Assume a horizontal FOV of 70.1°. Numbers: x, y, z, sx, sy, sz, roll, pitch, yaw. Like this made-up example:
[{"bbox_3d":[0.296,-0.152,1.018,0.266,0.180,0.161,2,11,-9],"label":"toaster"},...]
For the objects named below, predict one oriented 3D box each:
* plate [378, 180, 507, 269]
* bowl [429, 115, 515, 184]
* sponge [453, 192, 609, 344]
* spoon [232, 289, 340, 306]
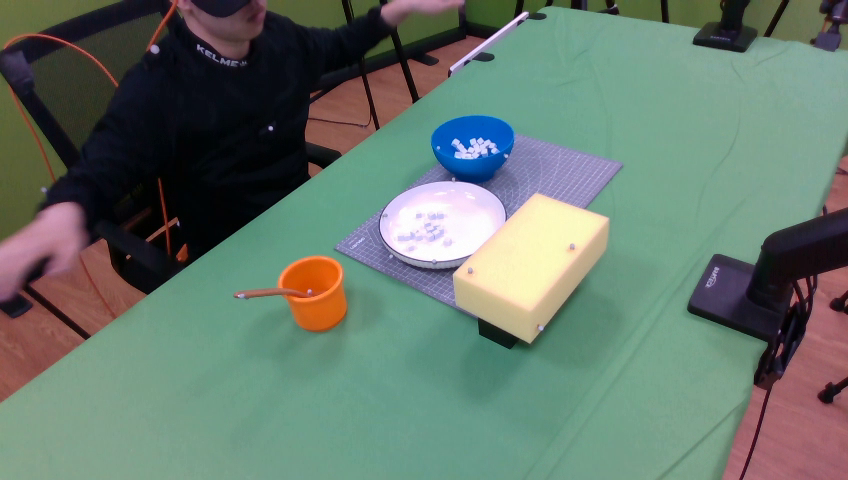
[{"bbox_3d":[0.031,-0.022,0.974,0.209,0.038,0.208,-4,40,4],"label":"plate"},{"bbox_3d":[0.089,-0.154,1.088,0.151,0.077,0.150,-4,40,4],"label":"bowl"},{"bbox_3d":[0.147,0.029,0.808,0.117,0.061,0.207,23,50,31],"label":"sponge"},{"bbox_3d":[-0.181,0.074,0.811,0.041,0.195,0.021,16,90,31],"label":"spoon"}]
